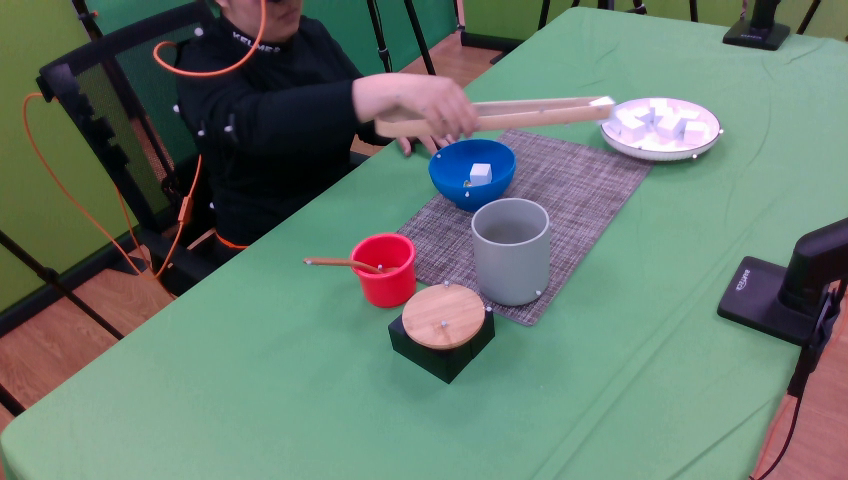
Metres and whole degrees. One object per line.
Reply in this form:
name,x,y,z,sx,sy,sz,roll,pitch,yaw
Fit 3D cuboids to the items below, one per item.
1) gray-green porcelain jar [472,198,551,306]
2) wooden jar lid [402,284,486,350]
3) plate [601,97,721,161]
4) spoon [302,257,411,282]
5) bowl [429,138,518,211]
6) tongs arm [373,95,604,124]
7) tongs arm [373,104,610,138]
gray-green porcelain jar,0.125,0.021,0.850,0.106,0.127,0.105,-6,40,5
wooden jar lid,0.026,0.101,0.786,0.108,0.021,0.108,-5,39,4
plate,0.436,-0.203,1.126,0.209,0.038,0.208,-5,39,5
spoon,-0.092,0.038,0.865,0.195,0.021,0.041,16,16,-46
bowl,0.087,-0.104,1.043,0.151,0.077,0.150,-5,40,5
tongs arm,0.110,-0.215,1.009,0.388,0.028,0.028,-5,44,-3
tongs arm,0.111,-0.200,0.990,0.386,0.026,0.050,-8,40,-6
